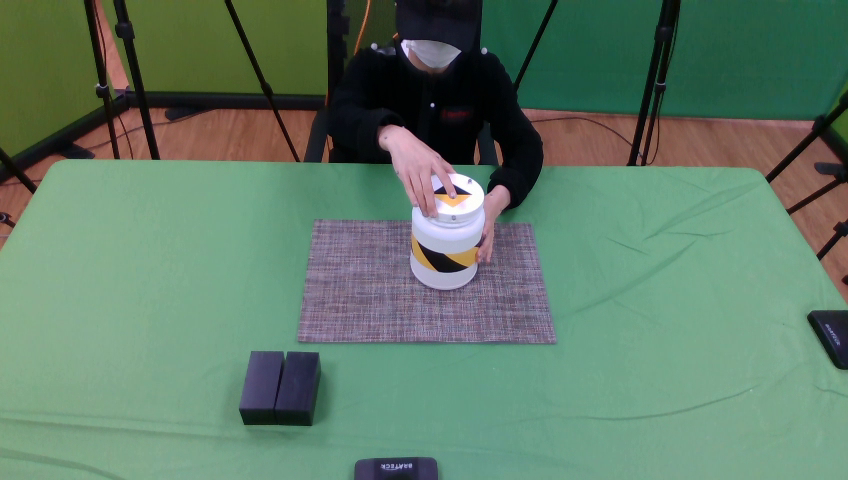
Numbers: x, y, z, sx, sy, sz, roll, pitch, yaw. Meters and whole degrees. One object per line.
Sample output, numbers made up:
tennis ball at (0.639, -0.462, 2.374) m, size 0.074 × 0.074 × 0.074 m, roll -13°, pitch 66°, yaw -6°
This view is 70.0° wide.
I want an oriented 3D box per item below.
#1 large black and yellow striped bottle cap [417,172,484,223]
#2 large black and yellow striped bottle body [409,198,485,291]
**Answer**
large black and yellow striped bottle cap at (0.045, -0.074, 1.033) m, size 0.115 × 0.019 × 0.114 m, roll 2°, pitch 45°, yaw -2°
large black and yellow striped bottle body at (0.040, -0.012, 1.096) m, size 0.131 × 0.185 × 0.130 m, roll 2°, pitch 46°, yaw -2°
